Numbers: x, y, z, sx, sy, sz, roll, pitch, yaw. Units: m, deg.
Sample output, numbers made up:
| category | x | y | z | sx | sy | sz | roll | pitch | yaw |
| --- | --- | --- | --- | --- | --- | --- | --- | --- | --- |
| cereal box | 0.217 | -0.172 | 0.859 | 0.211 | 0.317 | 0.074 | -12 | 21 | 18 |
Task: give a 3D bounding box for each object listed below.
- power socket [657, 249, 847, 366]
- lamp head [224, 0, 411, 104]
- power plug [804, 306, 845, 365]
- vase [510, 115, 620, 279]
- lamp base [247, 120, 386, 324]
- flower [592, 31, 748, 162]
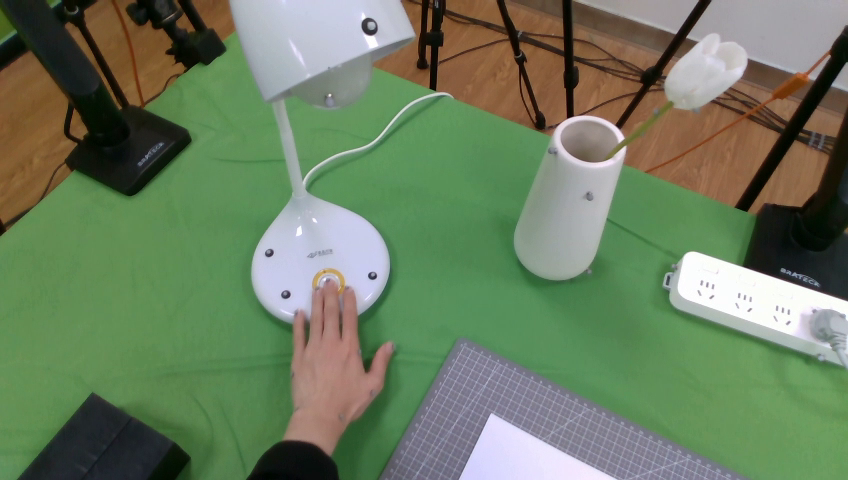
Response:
| category | x | y | z | sx | sy | sz | roll | pitch | yaw |
| --- | --- | --- | --- | --- | --- | --- | --- | --- | --- |
| power socket | 0.384 | 0.075 | 0.690 | 0.226 | 0.033 | 0.072 | 20 | 59 | 11 |
| lamp head | -0.082 | -0.164 | 0.396 | 0.112 | 0.112 | 0.123 | -30 | 100 | -20 |
| power plug | 0.420 | 0.102 | 0.646 | 0.035 | 0.053 | 0.072 | 29 | 66 | 17 |
| vase | 0.151 | -0.042 | 0.660 | 0.098 | 0.201 | 0.097 | 0 | 55 | 0 |
| lamp base | -0.129 | -0.026 | 0.651 | 0.161 | 0.182 | 0.177 | -23 | 57 | -16 |
| flower | 0.166 | -0.074 | 0.583 | 0.044 | 0.362 | 0.038 | -10 | 74 | -19 |
